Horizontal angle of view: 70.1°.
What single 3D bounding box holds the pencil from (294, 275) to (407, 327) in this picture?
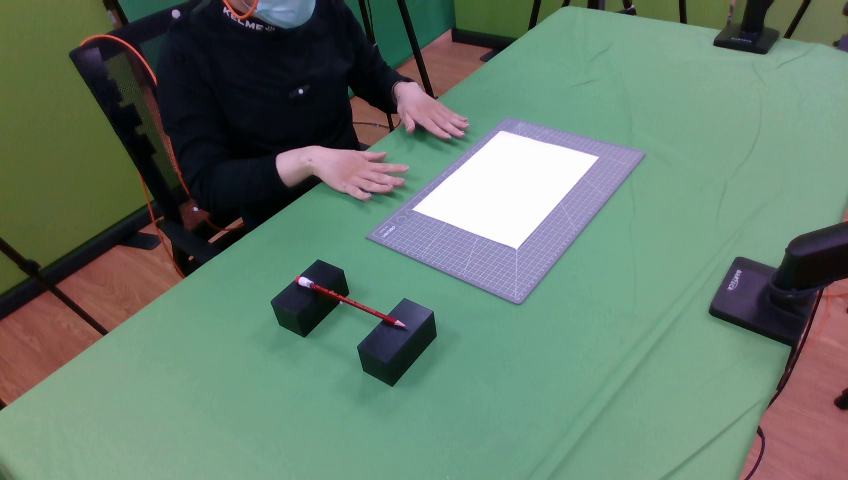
[{"bbox_3d":[-0.103,0.083,0.821,0.192,0.012,0.012,20,47,26],"label":"pencil"}]
